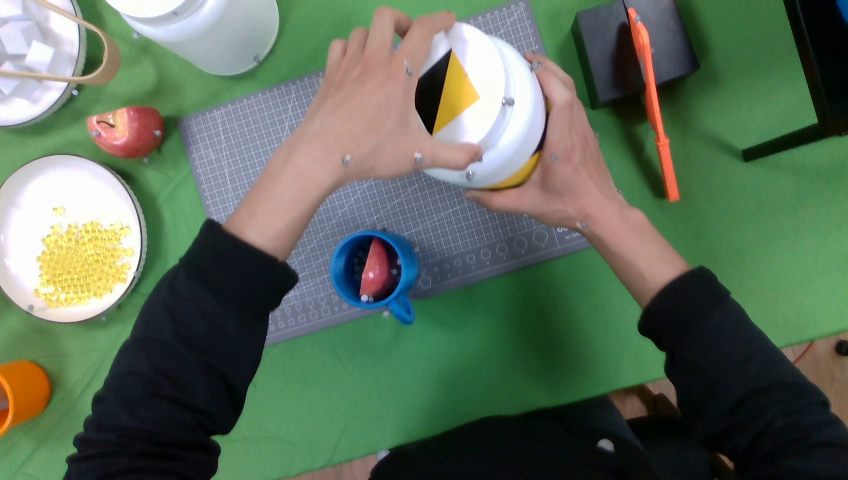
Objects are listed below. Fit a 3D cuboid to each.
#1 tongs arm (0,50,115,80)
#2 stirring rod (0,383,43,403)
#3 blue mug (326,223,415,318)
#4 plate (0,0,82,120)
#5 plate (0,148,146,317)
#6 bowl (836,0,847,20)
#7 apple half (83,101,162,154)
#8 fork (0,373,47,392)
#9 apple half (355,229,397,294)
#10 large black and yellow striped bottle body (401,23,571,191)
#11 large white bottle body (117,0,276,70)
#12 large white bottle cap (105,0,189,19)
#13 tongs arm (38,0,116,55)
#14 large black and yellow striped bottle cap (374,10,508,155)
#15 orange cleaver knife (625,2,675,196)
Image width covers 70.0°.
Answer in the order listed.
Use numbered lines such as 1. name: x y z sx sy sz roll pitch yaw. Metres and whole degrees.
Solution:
1. tongs arm: -0.556 -0.231 0.724 0.384 0.026 0.050 12 89 7
2. stirring rod: -0.556 0.200 0.719 0.177 0.006 0.014 -9 79 -34
3. blue mug: -0.048 0.037 0.682 0.082 0.106 0.116 -32 89 6
4. plate: -0.518 -0.251 0.751 0.207 0.039 0.207 0 93 5
5. plate: -0.442 -0.009 0.754 0.209 0.038 0.209 0 93 6
6. bowl: 0.381 -0.213 0.468 0.151 0.077 0.151 0 92 6
7. apple half: -0.354 -0.130 0.723 0.081 0.074 0.053 -13 94 2
8. fork: -0.570 0.183 0.717 0.208 0.018 0.028 -1 91 -38
9. apple half: -0.046 0.026 0.675 0.032 0.081 0.081 12 93 13
10. large black and yellow striped bottle body: 0.051 -0.120 0.564 0.130 0.185 0.130 -2 86 29
11. large white bottle body: -0.252 -0.269 0.652 0.130 0.185 0.130 0 91 6
12. large white bottle cap: -0.262 -0.268 0.568 0.115 0.018 0.115 0 92 6
13. tongs arm: -0.532 -0.311 0.721 0.387 0.028 0.028 26 88 6
14. large black and yellow striped bottle cap: 0.011 -0.127 0.490 0.114 0.019 0.115 -1 88 27
15. orange cleaver knife: 0.246 -0.150 0.660 0.012 0.076 0.213 -15 117 15
